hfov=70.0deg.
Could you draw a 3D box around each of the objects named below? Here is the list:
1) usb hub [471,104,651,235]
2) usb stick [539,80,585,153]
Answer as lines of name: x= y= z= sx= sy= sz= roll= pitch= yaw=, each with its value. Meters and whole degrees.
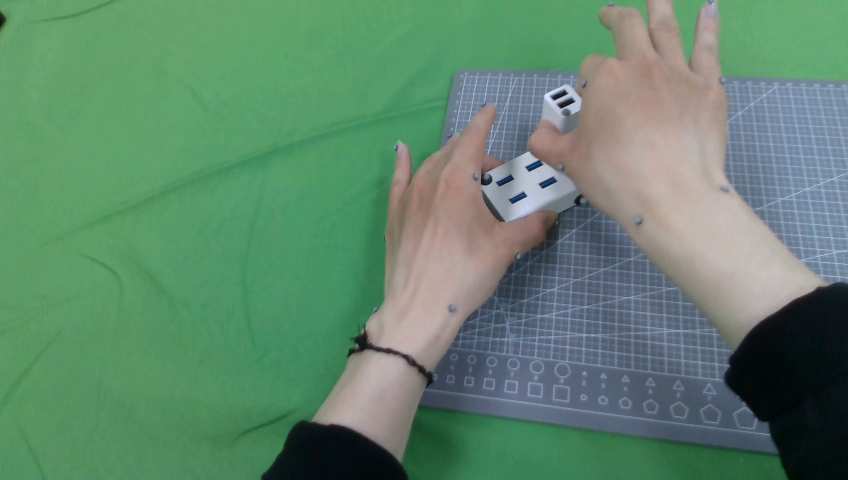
usb hub: x=0.100 y=-0.054 z=0.447 sx=0.125 sy=0.025 sz=0.049 roll=-28 pitch=53 yaw=-7
usb stick: x=0.098 y=-0.083 z=0.432 sx=0.021 sy=0.060 sz=0.027 roll=-28 pitch=58 yaw=-8
